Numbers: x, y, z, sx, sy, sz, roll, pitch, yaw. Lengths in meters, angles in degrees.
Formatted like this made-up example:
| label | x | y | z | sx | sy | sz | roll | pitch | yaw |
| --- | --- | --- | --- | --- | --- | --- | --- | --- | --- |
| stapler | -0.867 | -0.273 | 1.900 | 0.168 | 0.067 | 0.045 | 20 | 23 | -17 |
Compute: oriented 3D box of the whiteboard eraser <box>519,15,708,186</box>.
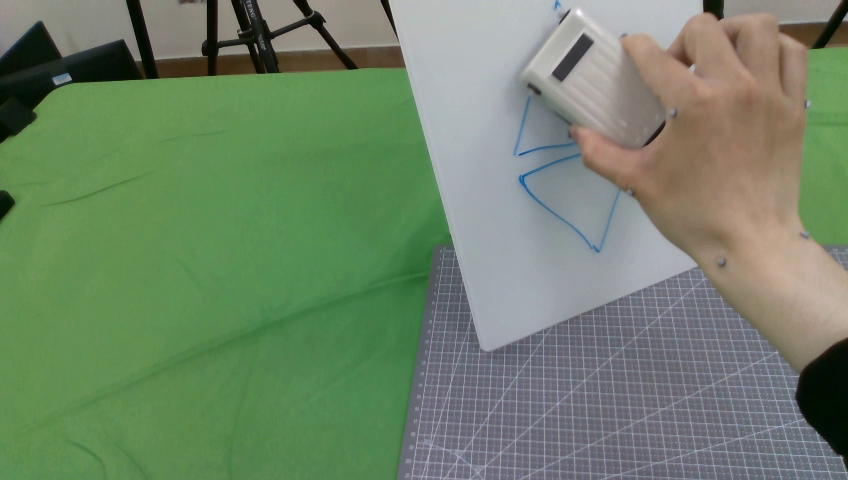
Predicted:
| label | x | y | z | sx | sy | sz | roll | pitch | yaw |
| --- | --- | --- | --- | --- | --- | --- | --- | --- | --- |
| whiteboard eraser | 0.121 | -0.088 | 0.392 | 0.113 | 0.055 | 0.041 | 37 | 12 | -3 |

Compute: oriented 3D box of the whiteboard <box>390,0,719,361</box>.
| label | x | y | z | sx | sy | sz | roll | pitch | yaw |
| --- | --- | --- | --- | --- | --- | --- | --- | --- | --- |
| whiteboard | 0.092 | -0.099 | 0.487 | 0.217 | 0.308 | 0.142 | -20 | 26 | -8 |
